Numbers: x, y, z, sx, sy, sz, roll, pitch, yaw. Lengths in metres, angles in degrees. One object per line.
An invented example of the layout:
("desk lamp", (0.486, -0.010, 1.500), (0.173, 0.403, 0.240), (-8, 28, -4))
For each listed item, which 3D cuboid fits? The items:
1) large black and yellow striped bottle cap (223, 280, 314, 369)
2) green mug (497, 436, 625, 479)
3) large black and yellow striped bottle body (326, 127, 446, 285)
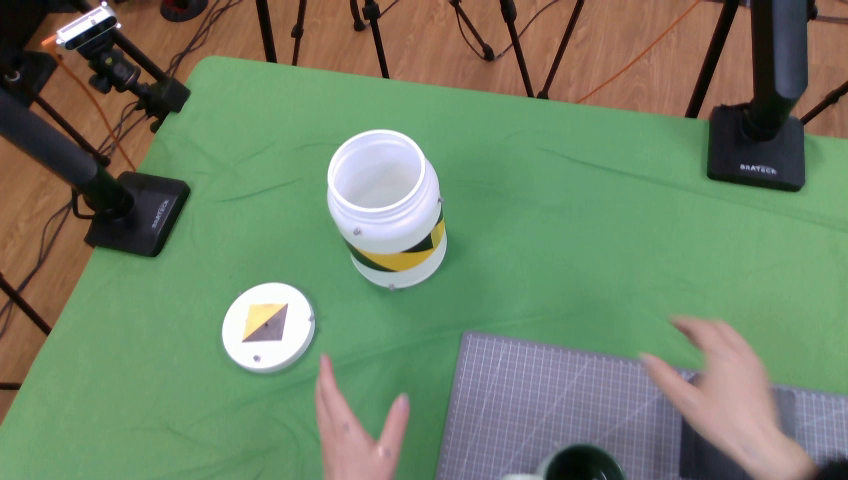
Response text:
("large black and yellow striped bottle cap", (-0.198, 0.106, 0.772), (0.115, 0.019, 0.114), (-2, 62, 4))
("green mug", (0.137, 0.246, 0.614), (0.125, 0.106, 0.092), (1, 63, 7))
("large black and yellow striped bottle body", (-0.043, -0.038, 0.734), (0.131, 0.185, 0.129), (-2, 62, 5))
